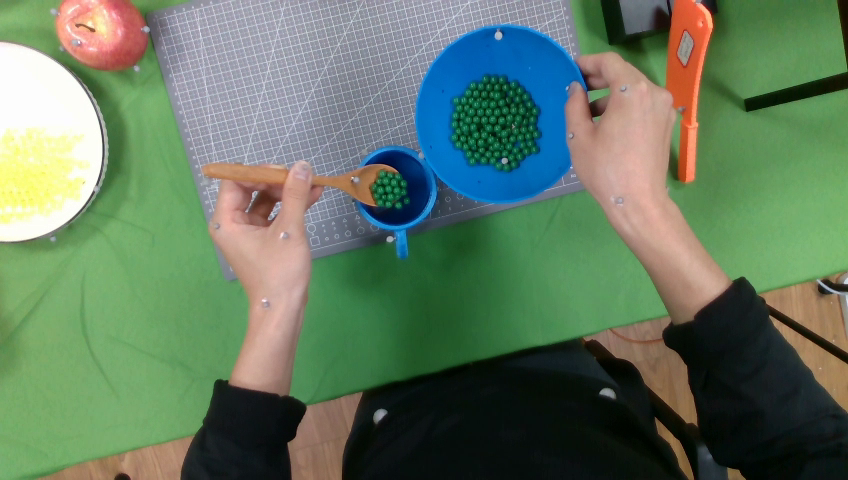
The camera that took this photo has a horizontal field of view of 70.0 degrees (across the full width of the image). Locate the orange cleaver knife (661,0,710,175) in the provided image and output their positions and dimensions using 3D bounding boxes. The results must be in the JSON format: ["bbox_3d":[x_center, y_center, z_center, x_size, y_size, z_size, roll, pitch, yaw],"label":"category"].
[{"bbox_3d":[0.276,-0.170,0.653,0.012,0.076,0.213,-15,128,-3],"label":"orange cleaver knife"}]

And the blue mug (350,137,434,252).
[{"bbox_3d":[-0.033,-0.046,0.634,0.082,0.105,0.117,-6,97,-3],"label":"blue mug"}]

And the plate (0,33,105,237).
[{"bbox_3d":[-0.438,-0.108,0.634,0.209,0.038,0.209,0,97,-4],"label":"plate"}]

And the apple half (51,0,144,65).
[{"bbox_3d":[-0.321,-0.207,0.614,0.081,0.074,0.053,-29,101,-4],"label":"apple half"}]

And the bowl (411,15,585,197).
[{"bbox_3d":[0.070,-0.119,0.551,0.151,0.077,0.152,3,103,13],"label":"bowl"}]

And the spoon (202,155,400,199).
[{"bbox_3d":[-0.096,-0.059,0.523,0.195,0.021,0.042,-1,110,-48],"label":"spoon"}]

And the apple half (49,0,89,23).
[{"bbox_3d":[-0.340,-0.241,0.608,0.081,0.081,0.033,-29,102,0],"label":"apple half"}]
